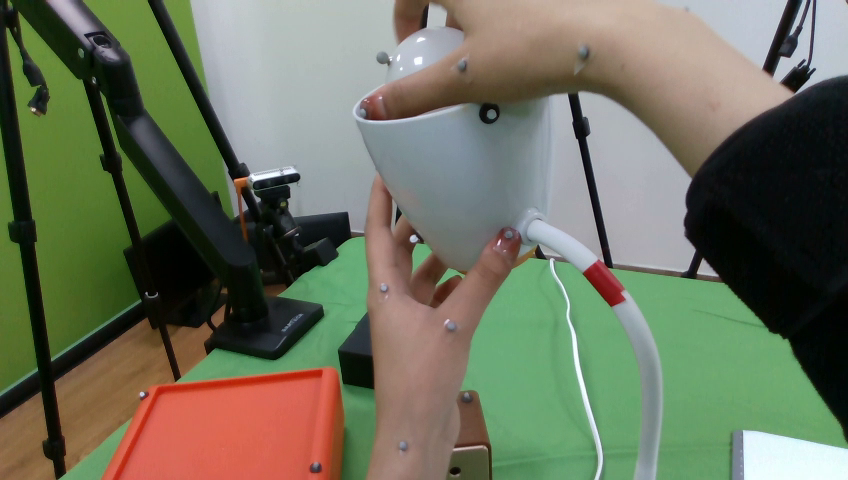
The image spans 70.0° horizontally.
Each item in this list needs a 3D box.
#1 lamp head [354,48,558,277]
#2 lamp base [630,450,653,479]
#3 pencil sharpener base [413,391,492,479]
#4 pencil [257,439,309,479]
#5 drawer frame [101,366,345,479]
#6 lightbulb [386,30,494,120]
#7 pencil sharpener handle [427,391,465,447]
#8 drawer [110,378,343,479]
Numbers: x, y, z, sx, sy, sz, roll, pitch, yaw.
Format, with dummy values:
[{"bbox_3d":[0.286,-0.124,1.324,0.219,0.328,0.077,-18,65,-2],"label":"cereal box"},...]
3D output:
[{"bbox_3d":[0.032,-0.039,0.356,0.112,0.124,0.111,-18,22,8],"label":"lamp head"},{"bbox_3d":[0.140,0.233,0.361,0.161,0.181,0.177,-8,22,-6],"label":"lamp base"},{"bbox_3d":[0.025,0.197,0.539,0.061,0.108,0.076,-6,26,-2],"label":"pencil sharpener base"},{"bbox_3d":[-0.175,0.239,0.524,0.012,0.012,0.194,21,47,42],"label":"pencil"},{"bbox_3d":[-0.180,0.219,0.553,0.202,0.083,0.211,-6,25,-3],"label":"drawer frame"},{"bbox_3d":[0.016,-0.064,0.345,0.059,0.108,0.059,-16,30,10],"label":"lightbulb"},{"bbox_3d":[0.019,0.165,0.580,0.036,0.068,0.030,0,26,-5],"label":"pencil sharpener handle"},{"bbox_3d":[-0.178,0.222,0.551,0.194,0.074,0.210,-6,25,-2],"label":"drawer"}]
